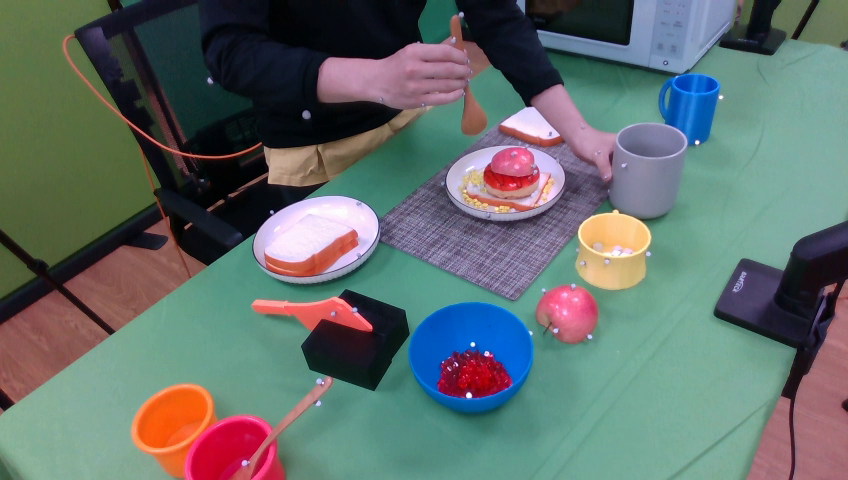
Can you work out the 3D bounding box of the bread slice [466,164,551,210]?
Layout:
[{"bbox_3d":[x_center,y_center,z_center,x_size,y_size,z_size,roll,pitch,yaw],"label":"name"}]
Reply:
[{"bbox_3d":[0.141,-0.093,1.042,0.133,0.018,0.107,10,43,19],"label":"bread slice"}]

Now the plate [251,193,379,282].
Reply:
[{"bbox_3d":[-0.174,-0.001,0.984,0.209,0.038,0.208,-4,40,4],"label":"plate"}]

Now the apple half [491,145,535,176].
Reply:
[{"bbox_3d":[0.147,-0.138,0.994,0.081,0.033,0.081,0,37,1],"label":"apple half"}]

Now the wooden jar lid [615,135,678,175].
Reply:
[{"bbox_3d":[0.398,-0.151,1.086,0.108,0.021,0.108,-2,42,2],"label":"wooden jar lid"}]

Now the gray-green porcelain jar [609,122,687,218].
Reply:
[{"bbox_3d":[0.353,-0.107,0.964,0.106,0.127,0.105,-4,41,4],"label":"gray-green porcelain jar"}]

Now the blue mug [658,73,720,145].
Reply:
[{"bbox_3d":[0.483,-0.250,1.127,0.082,0.106,0.115,-26,44,-19],"label":"blue mug"}]

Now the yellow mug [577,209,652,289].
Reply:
[{"bbox_3d":[0.279,0.004,0.893,0.099,0.064,0.130,5,42,14],"label":"yellow mug"}]

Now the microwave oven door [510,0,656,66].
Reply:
[{"bbox_3d":[0.350,-0.539,1.348,0.353,0.245,0.039,24,50,31],"label":"microwave oven door"}]

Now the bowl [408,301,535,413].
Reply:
[{"bbox_3d":[0.060,0.156,0.739,0.151,0.077,0.150,-4,40,4],"label":"bowl"}]

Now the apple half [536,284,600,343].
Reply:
[{"bbox_3d":[0.196,0.091,0.815,0.075,0.053,0.080,-22,42,-20],"label":"apple half"}]

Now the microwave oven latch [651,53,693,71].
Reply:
[{"bbox_3d":[0.532,-0.387,1.301,0.078,0.029,0.030,27,52,34],"label":"microwave oven latch"}]

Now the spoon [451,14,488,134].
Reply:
[{"bbox_3d":[0.056,-0.217,0.819,0.041,0.195,0.021,-20,46,-1],"label":"spoon"}]

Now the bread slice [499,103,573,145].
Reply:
[{"bbox_3d":[0.231,-0.232,1.205,0.105,0.019,0.130,-37,48,-28],"label":"bread slice"}]

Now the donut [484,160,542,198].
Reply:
[{"bbox_3d":[0.149,-0.110,1.016,0.099,0.048,0.098,-4,41,4],"label":"donut"}]

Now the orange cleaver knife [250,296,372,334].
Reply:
[{"bbox_3d":[-0.158,0.103,0.828,0.210,0.078,0.012,-4,43,39],"label":"orange cleaver knife"}]

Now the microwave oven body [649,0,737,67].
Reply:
[{"bbox_3d":[0.475,-0.602,1.411,0.438,0.261,0.327,23,50,32],"label":"microwave oven body"}]

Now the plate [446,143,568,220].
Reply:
[{"bbox_3d":[0.142,-0.097,1.045,0.207,0.039,0.206,-4,40,4],"label":"plate"}]

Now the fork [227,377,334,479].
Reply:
[{"bbox_3d":[-0.163,0.216,0.647,0.207,0.019,0.028,-49,41,16],"label":"fork"}]
